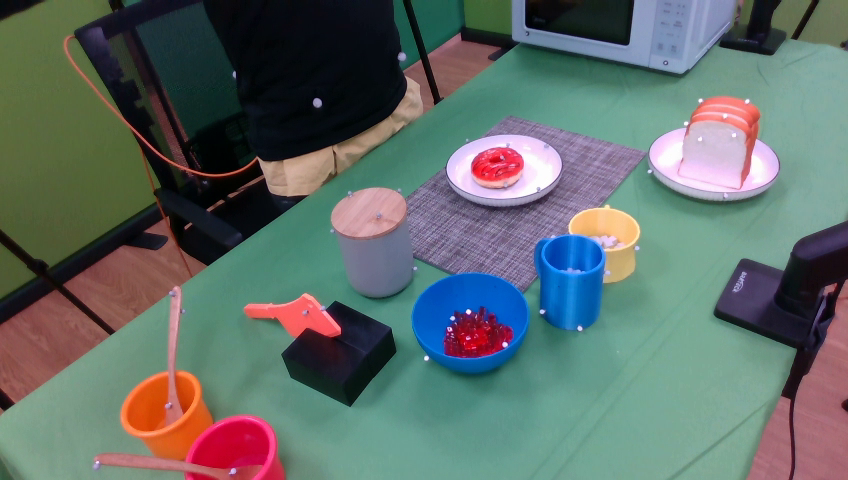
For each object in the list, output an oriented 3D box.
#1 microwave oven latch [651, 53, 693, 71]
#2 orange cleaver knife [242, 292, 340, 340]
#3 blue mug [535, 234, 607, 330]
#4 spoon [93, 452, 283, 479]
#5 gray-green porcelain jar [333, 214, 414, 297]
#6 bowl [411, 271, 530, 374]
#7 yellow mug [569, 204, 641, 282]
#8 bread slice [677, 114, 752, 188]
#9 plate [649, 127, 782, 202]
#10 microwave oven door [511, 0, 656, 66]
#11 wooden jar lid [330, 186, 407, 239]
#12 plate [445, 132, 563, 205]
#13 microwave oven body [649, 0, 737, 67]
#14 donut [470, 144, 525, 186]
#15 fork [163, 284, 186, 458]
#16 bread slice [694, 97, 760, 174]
[{"bbox_3d":[0.532,-0.386,1.301,0.078,0.029,0.030,27,52,34],"label":"microwave oven latch"},{"bbox_3d":[-0.186,0.107,0.827,0.210,0.077,0.012,-9,28,48],"label":"orange cleaver knife"},{"bbox_3d":[0.191,0.048,0.824,0.082,0.106,0.115,-26,44,-20],"label":"blue mug"},{"bbox_3d":[-0.240,0.239,0.632,0.195,0.021,0.041,26,34,-32],"label":"spoon"},{"bbox_3d":[-0.071,0.012,0.887,0.106,0.127,0.105,-4,41,4],"label":"gray-green porcelain jar"},{"bbox_3d":[0.062,0.120,0.780,0.151,0.077,0.150,-4,40,4],"label":"bowl"},{"bbox_3d":[0.268,-0.005,0.904,0.099,0.064,0.130,7,41,15],"label":"yellow mug"},{"bbox_3d":[0.467,-0.144,0.976,0.104,0.132,0.019,18,55,30],"label":"bread slice"},{"bbox_3d":[0.493,-0.127,1.036,0.207,0.039,0.206,-4,41,4],"label":"plate"},{"bbox_3d":[0.350,-0.539,1.349,0.353,0.245,0.039,24,50,31],"label":"microwave oven door"},{"bbox_3d":[-0.077,-0.035,0.846,0.108,0.021,0.108,-5,41,5],"label":"wooden jar lid"},{"bbox_3d":[0.142,-0.123,1.076,0.209,0.038,0.208,-4,41,4],"label":"plate"},{"bbox_3d":[0.475,-0.602,1.411,0.438,0.261,0.327,23,50,32],"label":"microwave oven body"},{"bbox_3d":[0.130,-0.134,1.073,0.099,0.048,0.098,-6,40,6],"label":"donut"},{"bbox_3d":[-0.302,0.157,0.733,0.028,0.019,0.207,-3,84,16],"label":"fork"},{"bbox_3d":[0.497,-0.173,1.004,0.106,0.135,0.018,23,51,26],"label":"bread slice"}]
